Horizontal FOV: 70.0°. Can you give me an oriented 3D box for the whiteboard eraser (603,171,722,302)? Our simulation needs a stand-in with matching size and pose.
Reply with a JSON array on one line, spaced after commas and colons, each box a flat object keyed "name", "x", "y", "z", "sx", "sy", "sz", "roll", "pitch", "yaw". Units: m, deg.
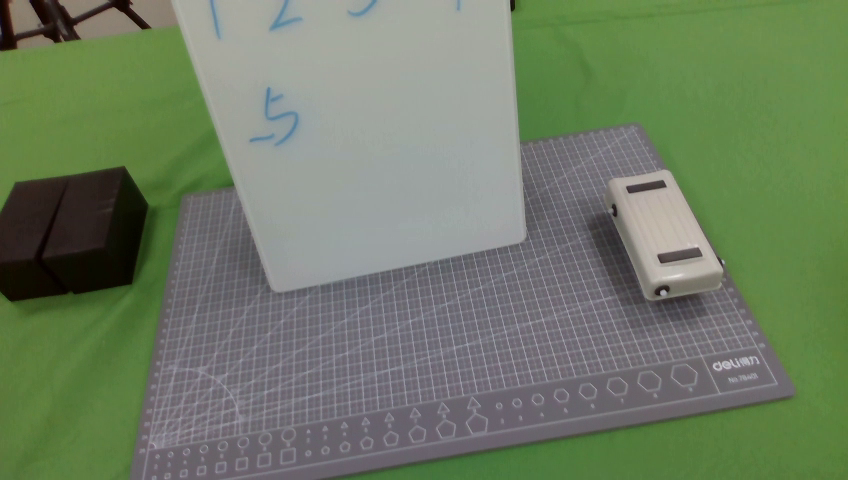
[{"name": "whiteboard eraser", "x": 0.184, "y": -0.003, "z": 0.476, "sx": 0.055, "sy": 0.042, "sz": 0.111, "roll": -8, "pitch": 49, "yaw": 0}]

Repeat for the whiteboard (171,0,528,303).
[{"name": "whiteboard", "x": -0.049, "y": -0.133, "z": 0.483, "sx": 0.217, "sy": 0.308, "sz": 0.142, "roll": -11, "pitch": 30, "yaw": -2}]
